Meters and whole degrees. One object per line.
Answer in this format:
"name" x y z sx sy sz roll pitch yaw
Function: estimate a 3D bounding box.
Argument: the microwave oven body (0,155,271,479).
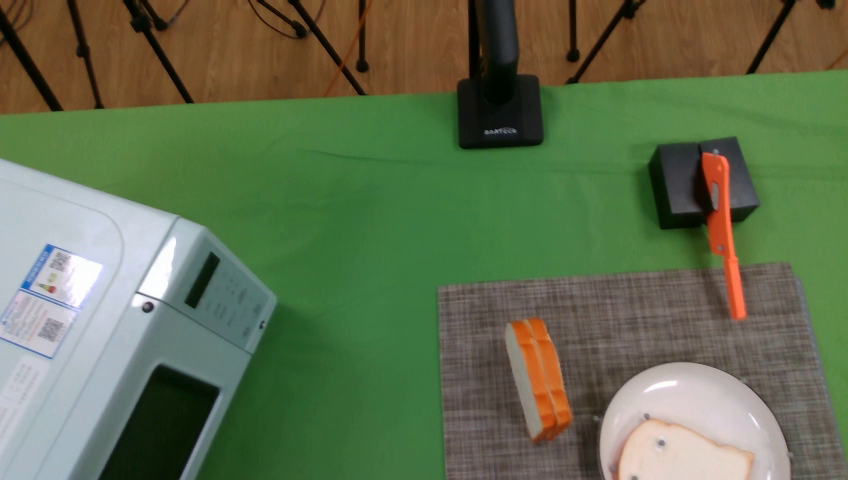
"microwave oven body" -0.417 0.169 0.634 0.325 0.262 0.439 17 72 10

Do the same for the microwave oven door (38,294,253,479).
"microwave oven door" -0.294 0.246 0.591 0.039 0.245 0.354 17 71 11

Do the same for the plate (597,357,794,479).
"plate" 0.297 0.237 0.678 0.207 0.039 0.206 -1 69 3

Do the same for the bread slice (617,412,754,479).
"bread slice" 0.283 0.254 0.669 0.134 0.018 0.106 19 68 13

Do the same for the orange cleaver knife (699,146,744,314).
"orange cleaver knife" 0.365 -0.015 0.750 0.012 0.077 0.211 -8 89 4

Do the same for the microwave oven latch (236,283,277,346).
"microwave oven latch" -0.211 0.090 0.754 0.030 0.030 0.079 19 72 10
